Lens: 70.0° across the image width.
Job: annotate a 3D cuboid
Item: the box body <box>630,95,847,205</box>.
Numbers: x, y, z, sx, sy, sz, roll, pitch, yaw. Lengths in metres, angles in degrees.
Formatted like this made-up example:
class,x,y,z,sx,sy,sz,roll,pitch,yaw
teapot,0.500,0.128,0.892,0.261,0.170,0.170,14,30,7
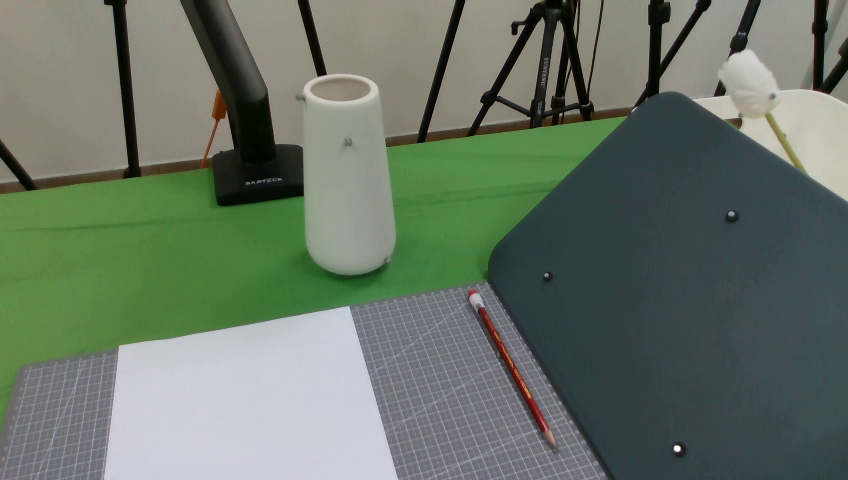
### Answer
class,x,y,z,sx,sy,sz,roll,pitch,yaw
box body,0.378,0.013,0.580,0.255,0.162,0.360,-9,38,-14

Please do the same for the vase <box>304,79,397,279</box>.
class,x,y,z,sx,sy,sz,roll,pitch,yaw
vase,-0.078,-0.057,0.619,0.098,0.201,0.097,0,36,0

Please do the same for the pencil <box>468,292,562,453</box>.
class,x,y,z,sx,sy,sz,roll,pitch,yaw
pencil,0.079,0.113,0.552,0.012,0.012,0.192,-10,39,-15

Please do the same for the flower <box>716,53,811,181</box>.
class,x,y,z,sx,sy,sz,roll,pitch,yaw
flower,0.351,-0.001,0.509,0.044,0.038,0.360,-12,72,-49

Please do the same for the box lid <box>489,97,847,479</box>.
class,x,y,z,sx,sy,sz,roll,pitch,yaw
box lid,0.210,0.046,0.500,0.015,0.263,0.367,33,18,-37
